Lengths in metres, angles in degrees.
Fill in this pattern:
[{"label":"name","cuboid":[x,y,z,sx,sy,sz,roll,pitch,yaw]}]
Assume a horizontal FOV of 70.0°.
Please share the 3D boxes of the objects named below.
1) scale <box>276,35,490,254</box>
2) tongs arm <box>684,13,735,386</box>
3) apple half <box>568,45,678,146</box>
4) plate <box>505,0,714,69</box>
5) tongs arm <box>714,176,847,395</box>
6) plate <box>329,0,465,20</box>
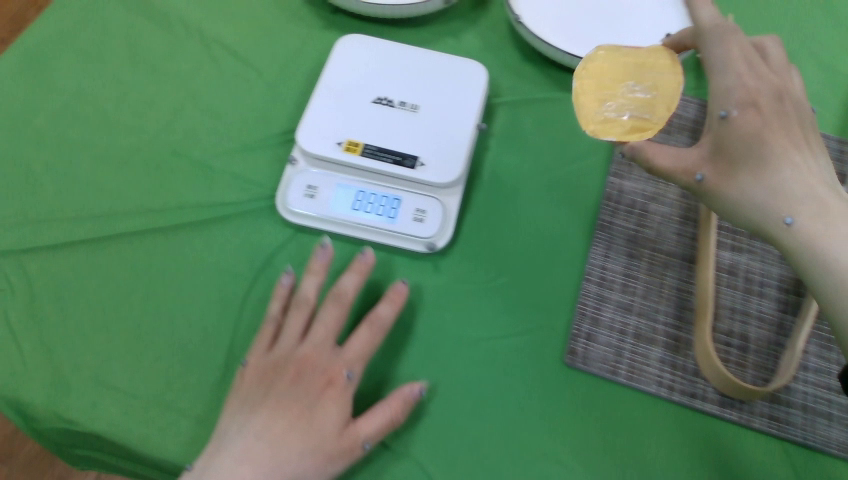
[{"label":"scale","cuboid":[-0.030,-0.090,0.527,0.148,0.032,0.199,13,61,5]},{"label":"tongs arm","cuboid":[0.254,-0.062,0.524,0.028,0.028,0.385,18,62,3]},{"label":"apple half","cuboid":[0.146,-0.104,0.450,0.081,0.033,0.081,-2,85,23]},{"label":"plate","cuboid":[0.184,-0.239,0.617,0.209,0.038,0.207,1,60,-2]},{"label":"tongs arm","cuboid":[0.331,-0.030,0.508,0.050,0.027,0.383,29,64,12]},{"label":"plate","cuboid":[-0.030,-0.303,0.643,0.208,0.039,0.206,1,61,-2]}]
